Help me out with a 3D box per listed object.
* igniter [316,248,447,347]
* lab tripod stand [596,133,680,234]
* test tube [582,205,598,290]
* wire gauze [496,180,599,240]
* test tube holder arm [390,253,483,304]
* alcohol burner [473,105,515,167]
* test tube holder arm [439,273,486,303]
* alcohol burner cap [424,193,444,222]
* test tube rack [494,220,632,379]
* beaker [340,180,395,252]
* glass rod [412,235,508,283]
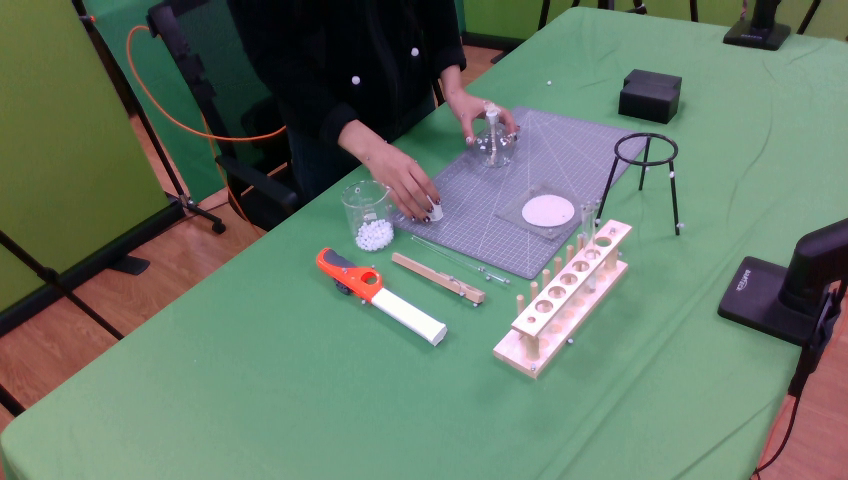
[{"bbox_3d":[-0.074,0.079,0.901,0.274,0.025,0.057,29,64,36],"label":"igniter"},{"bbox_3d":[0.338,-0.090,0.940,0.148,0.132,0.147,-7,39,6],"label":"lab tripod stand"},{"bbox_3d":[0.220,0.014,0.798,0.017,0.151,0.017,-9,43,9],"label":"test tube"},{"bbox_3d":[0.206,-0.050,1.012,0.125,0.011,0.120,-34,45,-26],"label":"wire gauze"},{"bbox_3d":[0.015,0.055,0.916,0.177,0.015,0.013,24,16,33],"label":"test tube holder arm"},{"bbox_3d":[0.128,-0.196,1.116,0.078,0.119,0.077,-4,39,4],"label":"alcohol burner"},{"bbox_3d":[0.053,0.070,0.896,0.087,0.015,0.010,24,16,34],"label":"test tube holder arm"},{"bbox_3d":[0.016,-0.057,1.028,0.034,0.048,0.033,-5,41,5],"label":"alcohol burner cap"},{"bbox_3d":[0.191,0.068,0.818,0.066,0.085,0.243,25,51,35],"label":"test tube rack"},{"bbox_3d":[-0.086,-0.037,0.985,0.084,0.101,0.073,-18,41,-11],"label":"beaker"},{"bbox_3d":[0.051,0.028,0.951,0.198,0.008,0.008,25,52,37],"label":"glass rod"}]
